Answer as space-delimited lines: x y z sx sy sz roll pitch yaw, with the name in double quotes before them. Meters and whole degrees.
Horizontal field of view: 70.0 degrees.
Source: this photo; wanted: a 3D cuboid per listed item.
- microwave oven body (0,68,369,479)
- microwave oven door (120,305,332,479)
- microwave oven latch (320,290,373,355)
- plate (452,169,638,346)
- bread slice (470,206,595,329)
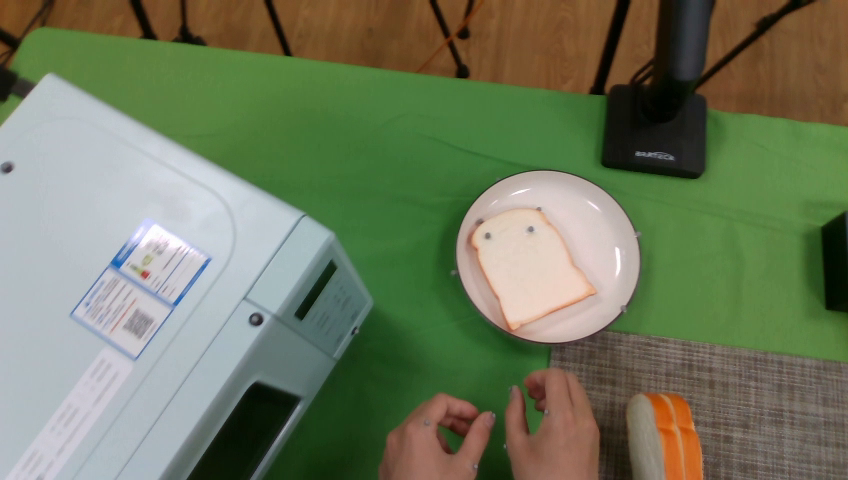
"microwave oven body" -0.311 0.130 0.560 0.325 0.262 0.440 29 76 12
"microwave oven door" -0.210 0.230 0.515 0.039 0.245 0.355 29 75 11
"microwave oven latch" -0.087 0.086 0.665 0.030 0.030 0.079 31 76 12
"plate" 0.136 0.020 0.694 0.207 0.039 0.206 -1 71 3
"bread slice" 0.113 0.026 0.692 0.107 0.018 0.133 -26 71 -9
